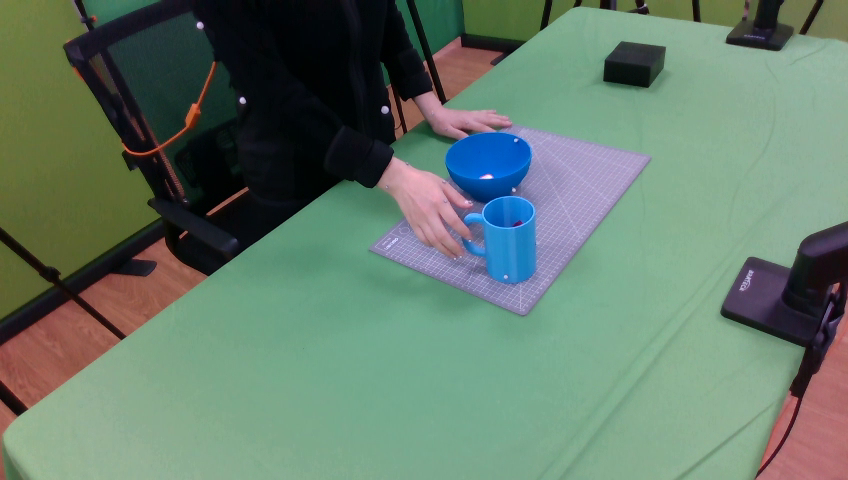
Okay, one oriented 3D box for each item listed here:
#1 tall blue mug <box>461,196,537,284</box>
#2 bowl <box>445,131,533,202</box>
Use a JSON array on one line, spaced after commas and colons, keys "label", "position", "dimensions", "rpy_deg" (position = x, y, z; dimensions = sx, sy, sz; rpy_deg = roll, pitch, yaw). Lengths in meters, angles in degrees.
[{"label": "tall blue mug", "position": [0.112, 0.002, 0.889], "dimensions": [0.107, 0.108, 0.077], "rpy_deg": [-10, 41, 0]}, {"label": "bowl", "position": [0.115, -0.119, 1.056], "dimensions": [0.151, 0.077, 0.150], "rpy_deg": [-6, 40, 5]}]
